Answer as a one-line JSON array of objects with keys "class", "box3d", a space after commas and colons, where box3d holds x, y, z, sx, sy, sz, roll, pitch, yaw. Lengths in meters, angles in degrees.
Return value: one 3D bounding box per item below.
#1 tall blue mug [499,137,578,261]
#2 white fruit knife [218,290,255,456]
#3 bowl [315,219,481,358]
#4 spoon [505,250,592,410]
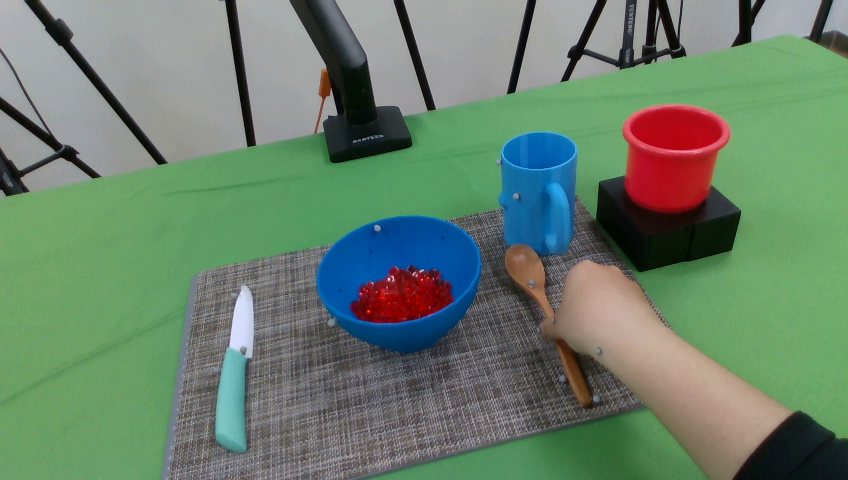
[{"class": "tall blue mug", "box3d": [0.131, -0.037, 0.631, 0.078, 0.109, 0.106, -30, 43, -26]}, {"class": "white fruit knife", "box3d": [-0.176, 0.114, 0.575, 0.027, 0.016, 0.205, 13, 31, -21]}, {"class": "bowl", "box3d": [-0.019, 0.056, 0.567, 0.151, 0.077, 0.150, -5, 38, 4]}, {"class": "spoon", "box3d": [0.115, 0.075, 0.564, 0.042, 0.022, 0.191, 3, 36, -14]}]
